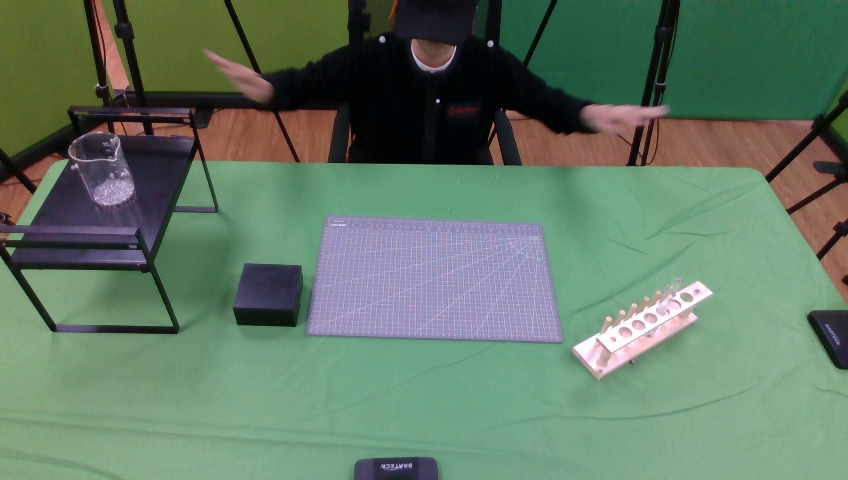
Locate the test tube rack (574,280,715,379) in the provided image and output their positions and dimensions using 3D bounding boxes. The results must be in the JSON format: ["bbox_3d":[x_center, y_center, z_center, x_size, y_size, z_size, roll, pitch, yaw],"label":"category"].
[{"bbox_3d":[0.378,0.140,1.038,0.242,0.085,0.066,-22,51,-23],"label":"test tube rack"}]

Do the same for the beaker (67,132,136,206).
[{"bbox_3d":[-0.504,-0.109,0.961,0.083,0.101,0.074,25,50,19],"label":"beaker"}]

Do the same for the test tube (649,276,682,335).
[{"bbox_3d":[0.396,0.111,0.999,0.017,0.151,0.017,0,48,0],"label":"test tube"}]
